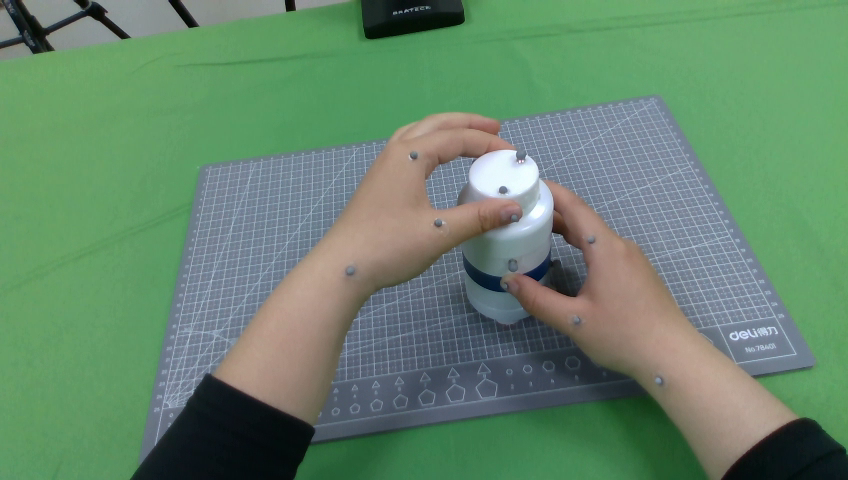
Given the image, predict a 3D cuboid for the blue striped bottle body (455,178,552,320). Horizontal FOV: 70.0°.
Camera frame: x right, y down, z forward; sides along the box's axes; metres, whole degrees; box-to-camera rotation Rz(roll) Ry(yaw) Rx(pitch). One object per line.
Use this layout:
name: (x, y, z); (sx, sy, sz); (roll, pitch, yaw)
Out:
blue striped bottle body: (0.055, -0.002, 0.413); (0.063, 0.122, 0.062); (-4, 50, 5)

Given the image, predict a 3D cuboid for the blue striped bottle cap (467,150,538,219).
blue striped bottle cap: (0.048, -0.035, 0.374); (0.044, 0.021, 0.044); (-4, 49, 5)
